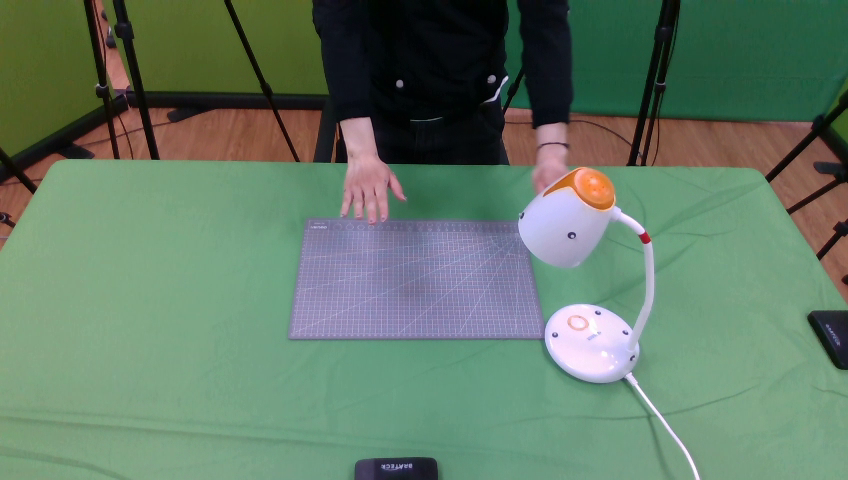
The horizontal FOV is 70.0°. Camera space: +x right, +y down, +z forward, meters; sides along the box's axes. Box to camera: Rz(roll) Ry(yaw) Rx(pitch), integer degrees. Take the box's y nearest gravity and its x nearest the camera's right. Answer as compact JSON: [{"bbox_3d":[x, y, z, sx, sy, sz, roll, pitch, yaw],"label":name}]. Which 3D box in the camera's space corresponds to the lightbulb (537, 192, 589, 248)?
[{"bbox_3d":[0.193,-0.031,0.826,0.059,0.108,0.059,7,59,-11],"label":"lightbulb"}]

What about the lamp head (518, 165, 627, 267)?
[{"bbox_3d":[0.202,-0.037,0.803,0.113,0.123,0.112,12,56,-18],"label":"lamp head"}]

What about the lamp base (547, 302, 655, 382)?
[{"bbox_3d":[0.303,0.127,0.982,0.160,0.181,0.178,-33,59,-29],"label":"lamp base"}]
